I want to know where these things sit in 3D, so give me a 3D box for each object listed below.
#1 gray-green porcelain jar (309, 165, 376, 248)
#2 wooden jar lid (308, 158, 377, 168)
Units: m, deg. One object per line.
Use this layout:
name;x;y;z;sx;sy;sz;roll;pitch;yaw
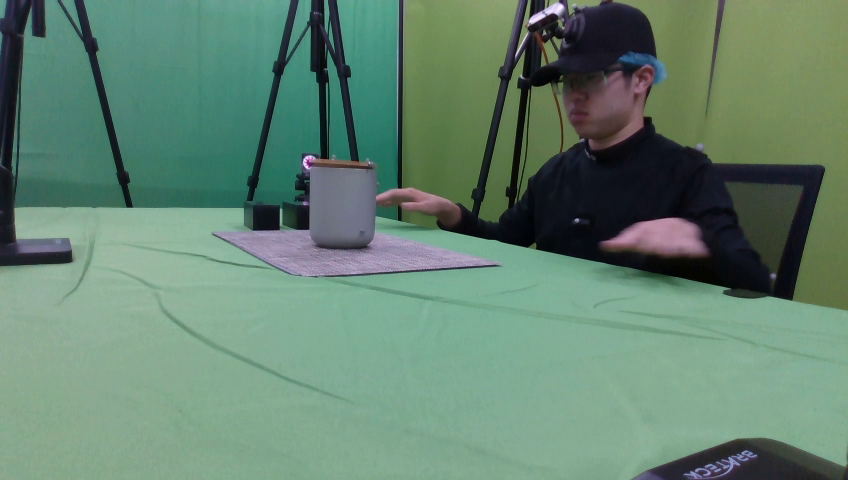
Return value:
gray-green porcelain jar;-0.130;-0.054;0.966;0.106;0.126;0.106;2;7;0
wooden jar lid;-0.128;-0.117;0.956;0.108;0.020;0.108;5;6;0
